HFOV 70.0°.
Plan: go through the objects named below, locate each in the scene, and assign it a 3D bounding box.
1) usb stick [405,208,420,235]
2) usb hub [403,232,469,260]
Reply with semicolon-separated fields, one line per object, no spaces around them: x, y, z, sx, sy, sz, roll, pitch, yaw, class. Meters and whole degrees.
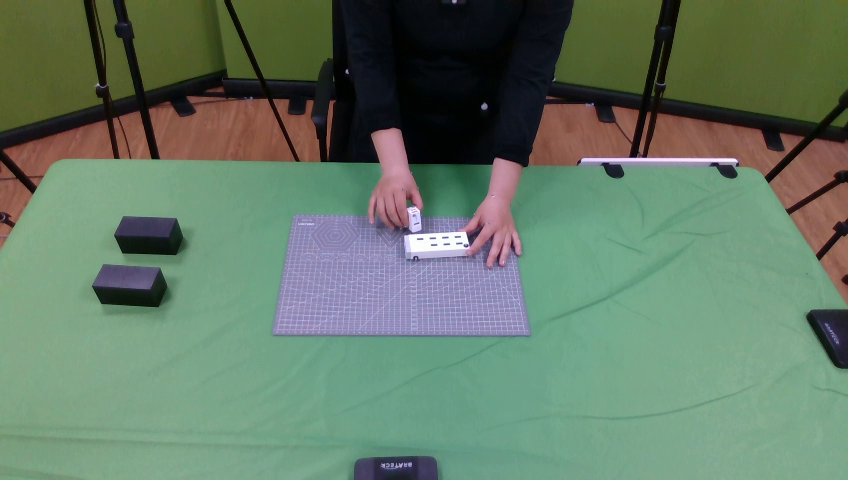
-0.023;-0.032;1.198;0.021;0.059;0.027;-16;38;-24;usb stick
0.023;0.012;1.182;0.125;0.025;0.049;-3;47;-7;usb hub
